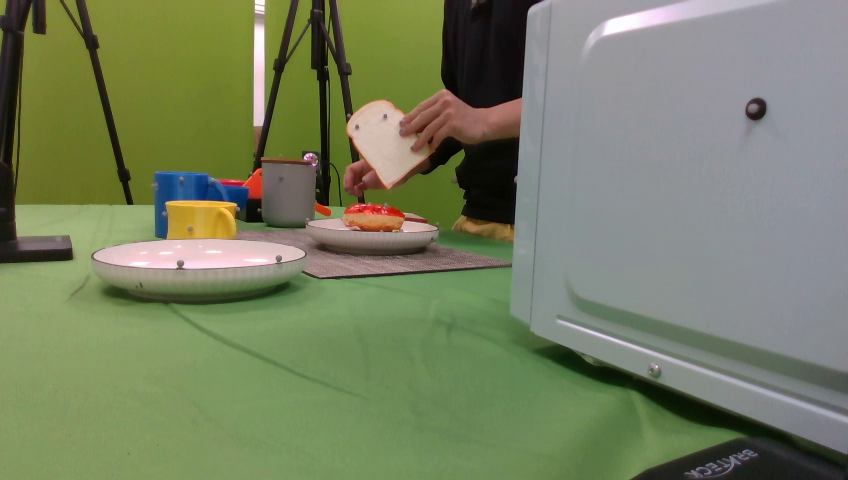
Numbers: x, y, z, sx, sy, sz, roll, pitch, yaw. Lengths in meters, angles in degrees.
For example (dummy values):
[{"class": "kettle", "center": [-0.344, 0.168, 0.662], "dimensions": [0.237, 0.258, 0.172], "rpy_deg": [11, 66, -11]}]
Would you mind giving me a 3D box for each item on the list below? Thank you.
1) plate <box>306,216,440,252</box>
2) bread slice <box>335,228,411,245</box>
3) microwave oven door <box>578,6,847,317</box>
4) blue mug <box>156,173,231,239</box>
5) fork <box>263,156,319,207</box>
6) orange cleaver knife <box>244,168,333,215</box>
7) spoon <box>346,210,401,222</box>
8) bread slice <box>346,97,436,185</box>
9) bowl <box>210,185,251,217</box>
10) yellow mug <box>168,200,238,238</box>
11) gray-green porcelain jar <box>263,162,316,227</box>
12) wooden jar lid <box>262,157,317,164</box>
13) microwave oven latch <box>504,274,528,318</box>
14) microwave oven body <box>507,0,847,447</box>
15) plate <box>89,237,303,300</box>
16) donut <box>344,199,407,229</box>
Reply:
[{"class": "plate", "center": [-0.080, -0.011, 0.949], "dimensions": [0.209, 0.038, 0.209], "rpy_deg": [2, 7, 0]}, {"class": "bread slice", "center": [-0.075, -0.006, 0.937], "dimensions": [0.105, 0.019, 0.131], "rpy_deg": [-2, 5, -19]}, {"class": "microwave oven door", "center": [0.294, -0.067, 0.570], "dimensions": [0.358, 0.243, 0.039], "rpy_deg": [-3, 9, -31]}, {"class": "blue mug", "center": [-0.381, -0.057, 1.004], "dimensions": [0.117, 0.106, 0.082], "rpy_deg": [0, 8, -12]}, {"class": "fork", "center": [-0.331, -0.144, 1.506], "dimensions": [0.207, 0.018, 0.028], "rpy_deg": [-42, -20, 22]}, {"class": "orange cleaver knife", "center": [-0.300, -0.089, 1.351], "dimensions": [0.212, 0.077, 0.012], "rpy_deg": [28, -9, -34]}, {"class": "spoon", "center": [-0.121, -0.060, 1.400], "dimensions": [0.042, 0.021, 0.192], "rpy_deg": [-27, 25, -38]}, {"class": "bread slice", "center": [-0.063, -0.168, 1.000], "dimensions": [0.107, 0.134, 0.018], "rpy_deg": [-44, 2, -15]}, {"class": "bowl", "center": [-0.408, -0.064, 1.155], "dimensions": [0.151, 0.077, 0.151], "rpy_deg": [2, 8, 0]}, {"class": "yellow mug", "center": [-0.320, -0.023, 0.904], "dimensions": [0.130, 0.064, 0.100], "rpy_deg": [9, 10, 36]}, {"class": "gray-green porcelain jar", "center": [-0.271, -0.092, 1.217], "dimensions": [0.106, 0.126, 0.106], "rpy_deg": [2, 7, 0]}, {"class": "wooden jar lid", "center": [-0.269, -0.154, 1.208], "dimensions": [0.108, 0.020, 0.108], "rpy_deg": [3, 4, 0]}, {"class": "microwave oven latch", "center": [0.100, 0.041, 0.471], "dimensions": [0.079, 0.029, 0.030], "rpy_deg": [-1, 8, -28]}, {"class": "microwave oven body", "center": [0.331, -0.042, 0.425], "dimensions": [0.444, 0.260, 0.324], "rpy_deg": [-2, 8, -31]}, {"class": "plate", "center": [-0.233, 0.029, 0.637], "dimensions": [0.208, 0.039, 0.207], "rpy_deg": [2, 7, 0]}, {"class": "donut", "center": [-0.077, -0.039, 0.948], "dimensions": [0.099, 0.048, 0.099], "rpy_deg": [2, 4, 0]}]
